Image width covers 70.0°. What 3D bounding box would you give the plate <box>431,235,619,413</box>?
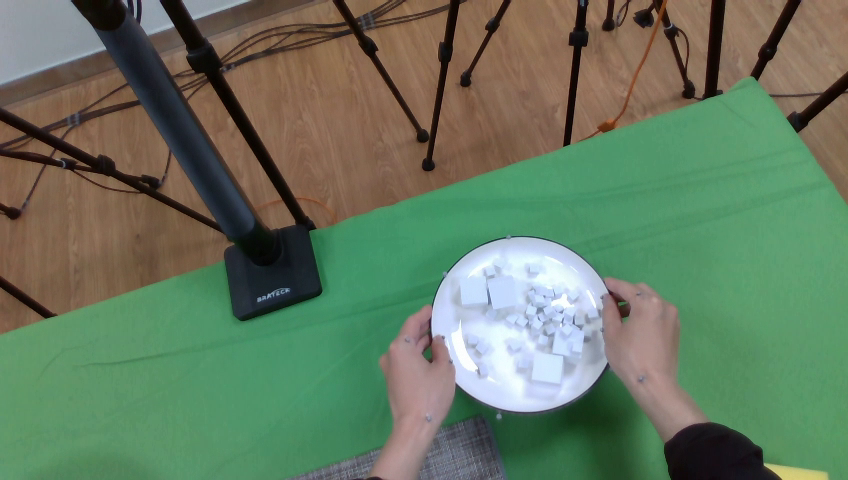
[{"bbox_3d":[0.113,0.095,0.693,0.207,0.039,0.206,-3,66,7],"label":"plate"}]

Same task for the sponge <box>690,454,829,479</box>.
[{"bbox_3d":[0.330,0.327,0.592,0.118,0.061,0.205,4,66,11],"label":"sponge"}]
